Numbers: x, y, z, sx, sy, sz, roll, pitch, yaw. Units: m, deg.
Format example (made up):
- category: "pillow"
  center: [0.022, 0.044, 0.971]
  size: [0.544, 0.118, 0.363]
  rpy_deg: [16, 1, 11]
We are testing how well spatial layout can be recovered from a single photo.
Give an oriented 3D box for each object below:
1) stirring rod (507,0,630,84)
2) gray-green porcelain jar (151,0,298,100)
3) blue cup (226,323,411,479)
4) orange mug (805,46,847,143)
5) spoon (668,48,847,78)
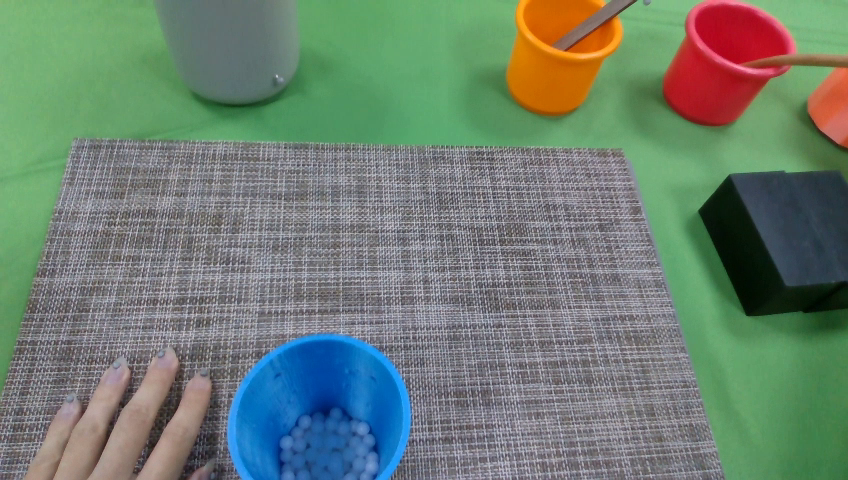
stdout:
- category: "stirring rod"
  center: [0.145, -0.190, 0.517]
  size: [0.176, 0.006, 0.014]
  rpy_deg: [-33, 63, 22]
- category: "gray-green porcelain jar"
  center: [-0.155, -0.184, 0.476]
  size: [0.106, 0.127, 0.105]
  rpy_deg: [4, 58, -5]
- category: "blue cup"
  center: [-0.052, 0.106, 0.325]
  size: [0.093, 0.101, 0.092]
  rpy_deg: [3, 58, -4]
- category: "orange mug"
  center: [0.421, -0.133, 0.540]
  size: [0.084, 0.101, 0.125]
  rpy_deg: [-3, 54, -14]
- category: "spoon"
  center: [0.292, -0.152, 0.510]
  size: [0.041, 0.022, 0.192]
  rpy_deg: [-26, 21, -23]
